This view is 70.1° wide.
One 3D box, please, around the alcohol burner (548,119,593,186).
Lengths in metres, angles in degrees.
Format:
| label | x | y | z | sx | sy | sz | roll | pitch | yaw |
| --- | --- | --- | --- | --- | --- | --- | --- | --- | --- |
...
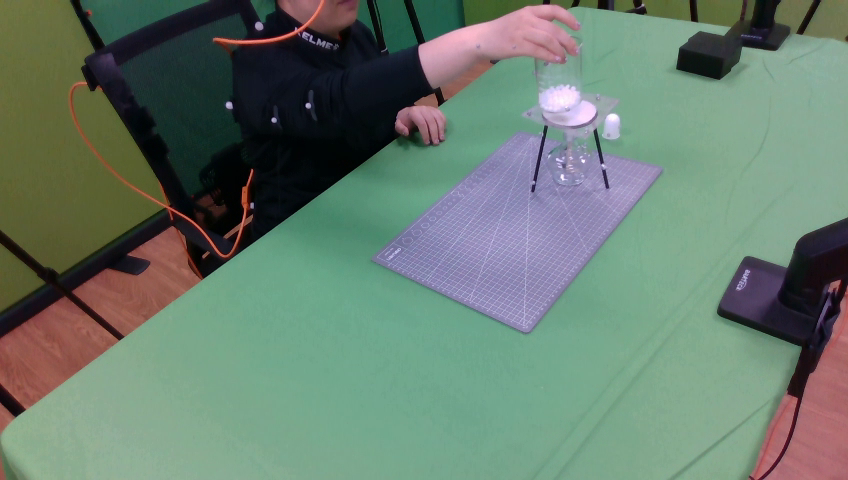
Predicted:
| label | x | y | z | sx | sy | sz | roll | pitch | yaw |
| --- | --- | --- | --- | --- | --- | --- | --- | --- | --- |
| alcohol burner | 0.252 | -0.154 | 1.042 | 0.078 | 0.120 | 0.077 | -7 | 40 | 7 |

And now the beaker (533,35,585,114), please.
| label | x | y | z | sx | sy | sz | roll | pitch | yaw |
| --- | --- | --- | --- | --- | --- | --- | --- | --- | --- |
| beaker | 0.208 | -0.255 | 0.936 | 0.083 | 0.101 | 0.074 | 21 | 48 | 37 |

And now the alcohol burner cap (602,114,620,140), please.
| label | x | y | z | sx | sy | sz | roll | pitch | yaw |
| --- | --- | --- | --- | --- | --- | --- | --- | --- | --- |
| alcohol burner cap | 0.359 | -0.217 | 1.157 | 0.034 | 0.048 | 0.033 | -6 | 40 | 6 |

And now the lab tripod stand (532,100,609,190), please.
| label | x | y | z | sx | sy | sz | roll | pitch | yaw |
| --- | --- | --- | --- | --- | --- | --- | --- | --- | --- |
| lab tripod stand | 0.251 | -0.161 | 1.034 | 0.148 | 0.132 | 0.147 | -4 | 39 | 4 |

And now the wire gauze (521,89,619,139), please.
| label | x | y | z | sx | sy | sz | roll | pitch | yaw |
| --- | --- | --- | --- | --- | --- | --- | --- | --- | --- |
| wire gauze | 0.239 | -0.213 | 0.994 | 0.124 | 0.011 | 0.122 | 24 | 49 | 32 |
